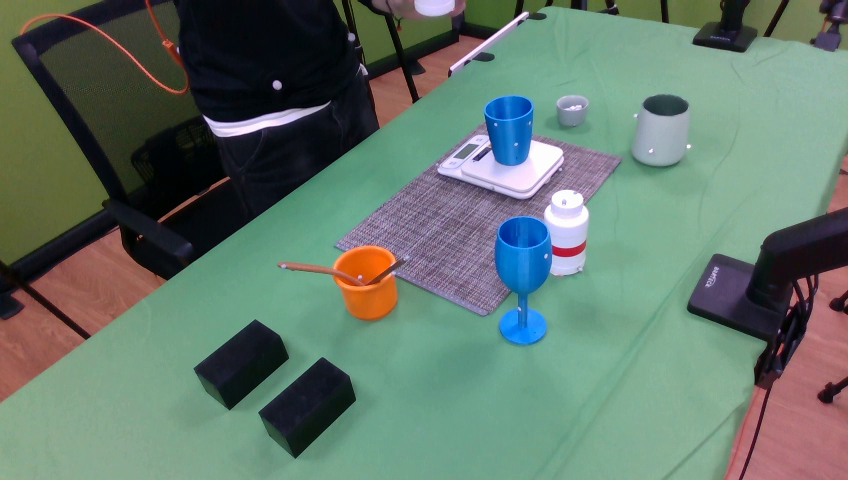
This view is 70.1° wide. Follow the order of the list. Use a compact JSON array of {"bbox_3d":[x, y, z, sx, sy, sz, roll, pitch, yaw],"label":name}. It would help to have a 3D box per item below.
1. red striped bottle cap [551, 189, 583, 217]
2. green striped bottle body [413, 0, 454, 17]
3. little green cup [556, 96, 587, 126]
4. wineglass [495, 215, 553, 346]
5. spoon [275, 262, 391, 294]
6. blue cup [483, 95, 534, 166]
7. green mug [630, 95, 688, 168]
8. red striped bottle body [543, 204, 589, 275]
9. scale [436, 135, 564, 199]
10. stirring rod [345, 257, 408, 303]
[{"bbox_3d":[0.200,-0.052,0.843,0.044,0.018,0.044,-2,42,2],"label":"red striped bottle cap"},{"bbox_3d":[0.011,-0.398,0.890,0.063,0.120,0.063,-2,48,3],"label":"green striped bottle body"},{"bbox_3d":[0.295,-0.258,1.214,0.061,0.039,0.061,-4,42,4],"label":"little green cup"},{"bbox_3d":[0.127,0.054,0.770,0.074,0.173,0.073,-4,40,4],"label":"wineglass"},{"bbox_3d":[-0.120,0.050,0.830,0.041,0.195,0.021,31,97,45],"label":"spoon"},{"bbox_3d":[0.150,-0.187,1.051,0.092,0.101,0.092,-6,41,6],"label":"blue cup"},{"bbox_3d":[0.421,-0.201,1.081,0.092,0.105,0.125,6,42,15],"label":"green mug"},{"bbox_3d":[0.206,-0.011,0.878,0.063,0.120,0.062,-5,41,4],"label":"red striped bottle body"},{"bbox_3d":[0.137,-0.142,1.101,0.199,0.032,0.149,22,48,30],"label":"scale"},{"bbox_3d":[-0.067,0.057,0.815,0.014,0.175,0.006,-24,82,-38],"label":"stirring rod"}]
